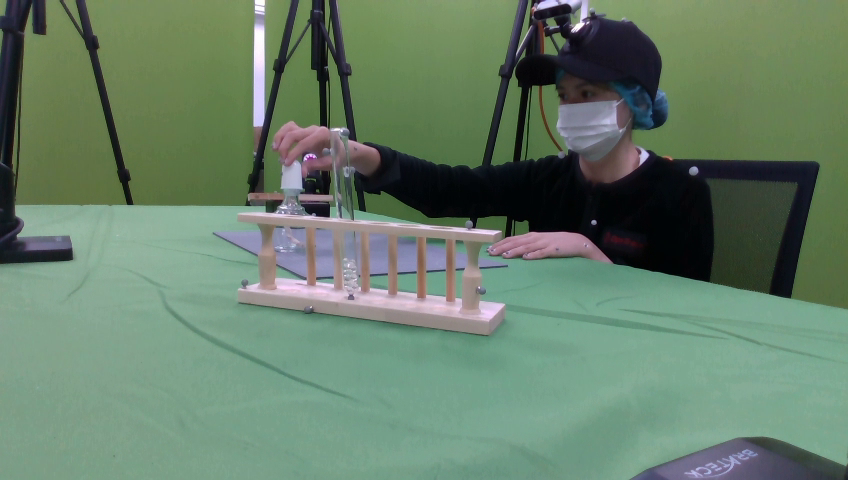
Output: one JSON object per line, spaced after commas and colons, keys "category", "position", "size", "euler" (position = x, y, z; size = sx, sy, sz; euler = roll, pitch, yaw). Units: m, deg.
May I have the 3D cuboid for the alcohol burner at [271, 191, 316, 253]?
{"category": "alcohol burner", "position": [-0.196, -0.041, 0.884], "size": [0.078, 0.119, 0.078], "euler": [3, 5, 0]}

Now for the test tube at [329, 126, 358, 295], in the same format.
{"category": "test tube", "position": [-0.071, -0.025, 0.534], "size": [0.017, 0.150, 0.017], "euler": [-3, 10, 1]}

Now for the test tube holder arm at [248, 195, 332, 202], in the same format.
{"category": "test tube holder arm", "position": [-0.269, -0.085, 1.229], "size": [0.179, 0.015, 0.013], "euler": [-2, 1, -37]}

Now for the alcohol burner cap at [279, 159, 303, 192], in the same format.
{"category": "alcohol burner cap", "position": [-0.195, -0.094, 0.882], "size": [0.034, 0.048, 0.034], "euler": [0, 2, 0]}

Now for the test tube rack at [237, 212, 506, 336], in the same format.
{"category": "test tube rack", "position": [-0.049, 0.024, 0.552], "size": [0.242, 0.085, 0.067], "euler": [5, 8, 18]}

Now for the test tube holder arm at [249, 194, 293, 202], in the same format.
{"category": "test tube holder arm", "position": [-0.302, -0.084, 1.197], "size": [0.088, 0.015, 0.010], "euler": [-2, 1, -37]}
